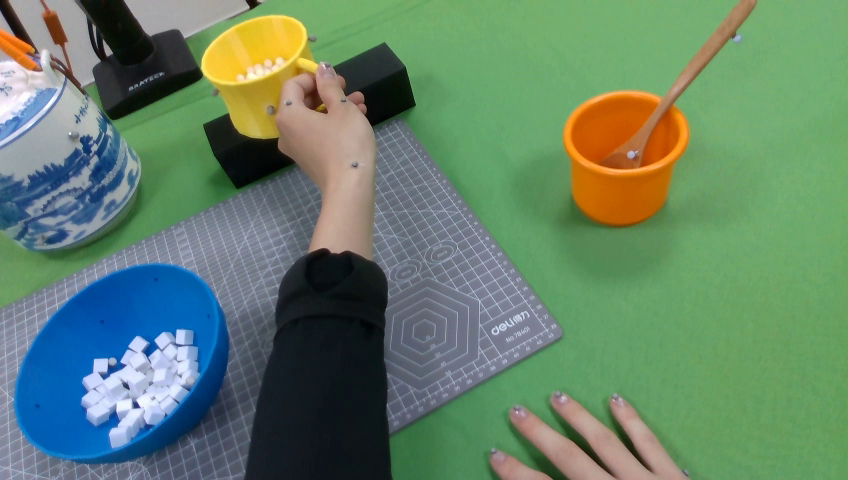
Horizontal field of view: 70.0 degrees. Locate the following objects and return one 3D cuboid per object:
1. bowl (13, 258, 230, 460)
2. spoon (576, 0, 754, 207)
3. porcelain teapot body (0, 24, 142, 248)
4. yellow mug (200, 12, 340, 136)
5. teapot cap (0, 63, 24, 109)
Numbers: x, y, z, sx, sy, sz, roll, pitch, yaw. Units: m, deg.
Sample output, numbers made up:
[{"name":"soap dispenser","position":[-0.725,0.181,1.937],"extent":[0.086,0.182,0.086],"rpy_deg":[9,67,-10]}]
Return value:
[{"name":"bowl","position":[-0.206,0.096,0.451],"extent":[0.151,0.077,0.150],"rpy_deg":[-6,53,9]},{"name":"spoon","position":[0.184,-0.104,0.466],"extent":[0.022,0.194,0.041],"rpy_deg":[1,41,-44]},{"name":"porcelain teapot body","position":[-0.402,-0.092,0.544],"extent":[0.205,0.227,0.143],"rpy_deg":[-23,54,-3]},{"name":"yellow mug","position":[-0.134,-0.153,0.563],"extent":[0.130,0.064,0.099],"rpy_deg":[16,60,23]},{"name":"teapot cap","position":[-0.383,-0.125,0.514],"extent":[0.085,0.044,0.084],"rpy_deg":[-7,55,11]}]
